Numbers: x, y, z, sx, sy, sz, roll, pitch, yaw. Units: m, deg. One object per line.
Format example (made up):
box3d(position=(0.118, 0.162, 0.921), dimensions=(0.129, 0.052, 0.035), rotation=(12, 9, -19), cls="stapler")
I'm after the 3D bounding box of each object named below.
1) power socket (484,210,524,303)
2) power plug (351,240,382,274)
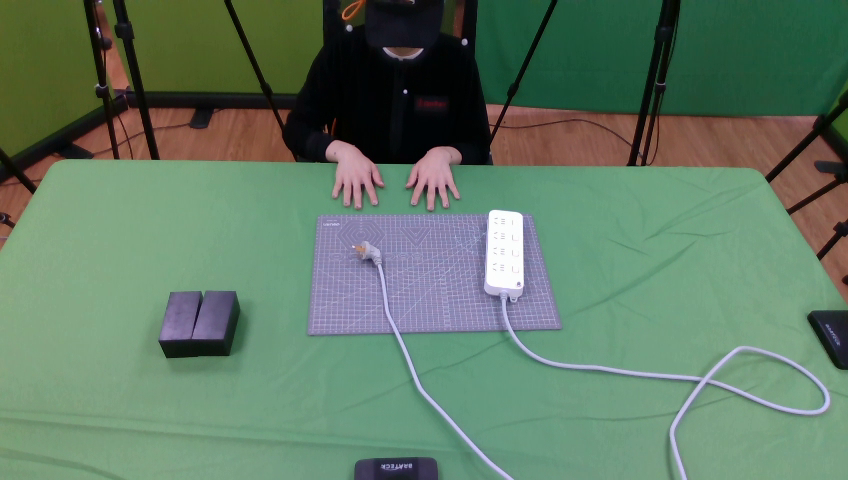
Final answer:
box3d(position=(0.157, 0.023, 1.175), dimensions=(0.072, 0.033, 0.225), rotation=(6, 46, 3), cls="power socket")
box3d(position=(-0.107, 0.029, 1.144), dimensions=(0.053, 0.035, 0.072), rotation=(3, 31, -24), cls="power plug")
